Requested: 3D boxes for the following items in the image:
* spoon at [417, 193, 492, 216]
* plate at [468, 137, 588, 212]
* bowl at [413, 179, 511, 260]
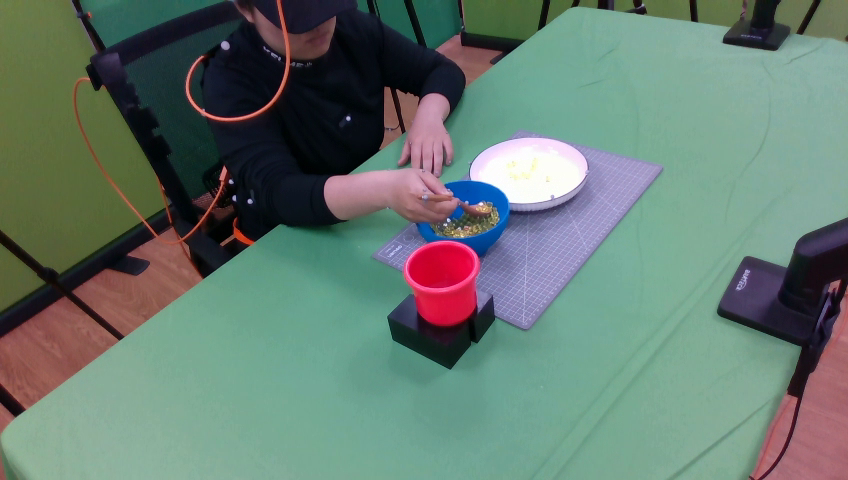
[{"bbox_3d":[0.045,-0.055,0.882,0.041,0.021,0.195,21,6,33],"label":"spoon"},{"bbox_3d":[0.181,-0.112,1.064,0.207,0.039,0.206,-5,40,5],"label":"plate"},{"bbox_3d":[0.062,-0.021,0.948,0.151,0.077,0.150,-5,40,5],"label":"bowl"}]
